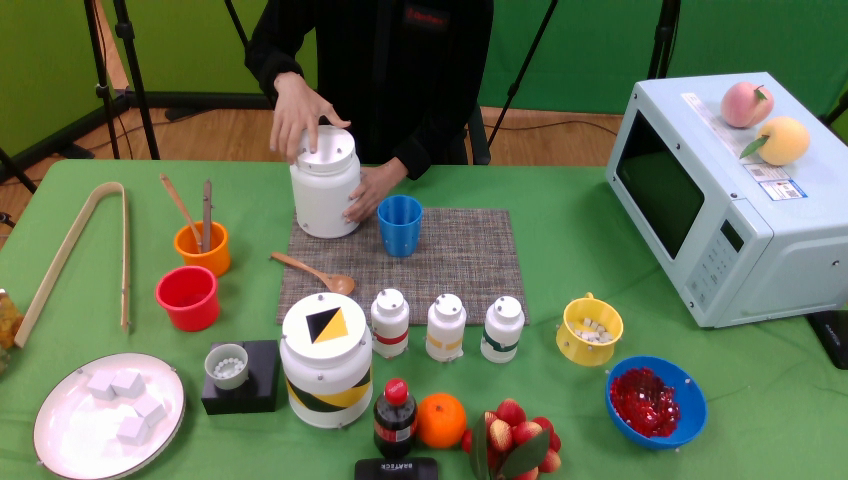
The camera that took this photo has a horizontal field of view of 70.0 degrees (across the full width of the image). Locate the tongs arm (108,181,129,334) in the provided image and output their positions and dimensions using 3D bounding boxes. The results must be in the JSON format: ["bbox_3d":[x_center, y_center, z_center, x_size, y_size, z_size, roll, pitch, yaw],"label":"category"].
[{"bbox_3d":[-0.571,0.019,1.123,0.051,0.026,0.382,-10,47,-12],"label":"tongs arm"}]

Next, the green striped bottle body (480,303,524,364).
[{"bbox_3d":[0.129,0.147,1.000,0.063,0.120,0.063,2,46,-2],"label":"green striped bottle body"}]

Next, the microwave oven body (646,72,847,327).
[{"bbox_3d":[0.607,-0.089,1.164,0.326,0.261,0.438,-7,46,-10],"label":"microwave oven body"}]

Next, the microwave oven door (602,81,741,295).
[{"bbox_3d":[0.456,-0.107,1.162,0.039,0.245,0.353,-7,47,-11],"label":"microwave oven door"}]

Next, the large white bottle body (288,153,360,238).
[{"bbox_3d":[-0.191,-0.108,1.168,0.131,0.185,0.130,2,47,-2],"label":"large white bottle body"}]

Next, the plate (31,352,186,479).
[{"bbox_3d":[-0.459,0.262,0.898,0.209,0.038,0.208,2,46,-2],"label":"plate"}]

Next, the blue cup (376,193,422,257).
[{"bbox_3d":[-0.047,-0.021,1.155,0.093,0.101,0.092,1,46,-1],"label":"blue cup"}]

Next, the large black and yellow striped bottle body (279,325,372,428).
[{"bbox_3d":[-0.143,0.181,0.900,0.131,0.185,0.130,2,46,-2],"label":"large black and yellow striped bottle body"}]

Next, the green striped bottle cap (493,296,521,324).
[{"bbox_3d":[0.133,0.111,0.962,0.044,0.020,0.044,2,47,-2],"label":"green striped bottle cap"}]

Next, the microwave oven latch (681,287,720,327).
[{"bbox_3d":[0.494,0.119,1.087,0.030,0.029,0.078,-5,46,-9],"label":"microwave oven latch"}]

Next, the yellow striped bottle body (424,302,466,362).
[{"bbox_3d":[0.035,0.143,0.995,0.063,0.121,0.062,3,46,-3],"label":"yellow striped bottle body"}]

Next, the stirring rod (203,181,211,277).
[{"bbox_3d":[-0.396,-0.021,1.107,0.014,0.006,0.176,-1,89,-2],"label":"stirring rod"}]

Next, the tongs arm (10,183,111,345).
[{"bbox_3d":[-0.658,0.027,1.109,0.028,0.028,0.385,-2,45,1],"label":"tongs arm"}]

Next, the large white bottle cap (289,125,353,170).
[{"bbox_3d":[-0.186,-0.170,1.103,0.115,0.018,0.114,1,47,-1],"label":"large white bottle cap"}]

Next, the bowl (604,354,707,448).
[{"bbox_3d":[0.346,0.261,0.937,0.151,0.077,0.150,2,46,-2],"label":"bowl"}]

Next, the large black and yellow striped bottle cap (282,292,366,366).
[{"bbox_3d":[-0.138,0.121,0.841,0.115,0.019,0.114,3,47,-3],"label":"large black and yellow striped bottle cap"}]

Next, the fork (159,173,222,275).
[{"bbox_3d":[-0.427,-0.029,1.103,0.028,0.018,0.207,-31,99,-31],"label":"fork"}]

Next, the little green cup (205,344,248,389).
[{"bbox_3d":[-0.294,0.191,0.909,0.061,0.039,0.061,1,47,-1],"label":"little green cup"}]

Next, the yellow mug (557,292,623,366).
[{"bbox_3d":[0.285,0.145,1.051,0.100,0.064,0.130,7,46,4],"label":"yellow mug"}]

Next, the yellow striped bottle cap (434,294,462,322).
[{"bbox_3d":[0.038,0.107,0.958,0.044,0.019,0.044,2,44,-2],"label":"yellow striped bottle cap"}]

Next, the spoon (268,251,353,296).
[{"bbox_3d":[-0.212,0.057,1.121,0.193,0.022,0.041,24,74,18],"label":"spoon"}]

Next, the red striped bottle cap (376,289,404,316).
[{"bbox_3d":[-0.054,0.098,0.958,0.044,0.018,0.044,0,48,1],"label":"red striped bottle cap"}]

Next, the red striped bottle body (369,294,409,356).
[{"bbox_3d":[-0.059,0.134,0.997,0.063,0.120,0.062,5,47,-5],"label":"red striped bottle body"}]
